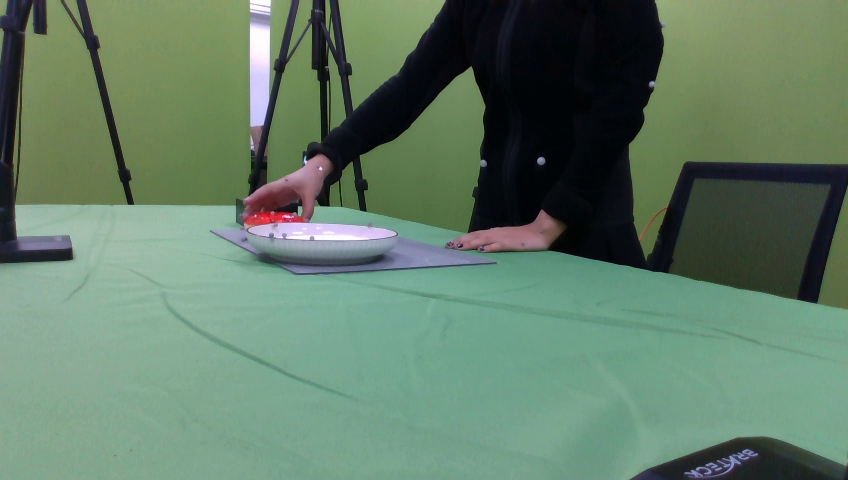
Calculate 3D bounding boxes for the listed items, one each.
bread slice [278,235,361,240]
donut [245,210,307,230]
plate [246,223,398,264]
[{"bbox_3d":[-0.140,0.007,0.839,0.132,0.019,0.104,-2,8,-35],"label":"bread slice"},{"bbox_3d":[-0.244,-0.024,0.998,0.099,0.048,0.099,2,8,0],"label":"donut"},{"bbox_3d":[-0.140,0.004,0.847,0.209,0.038,0.209,2,7,0],"label":"plate"}]
